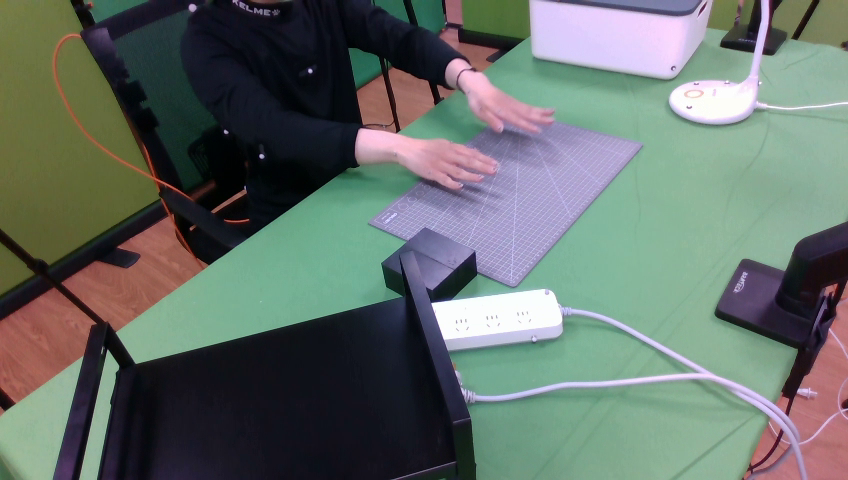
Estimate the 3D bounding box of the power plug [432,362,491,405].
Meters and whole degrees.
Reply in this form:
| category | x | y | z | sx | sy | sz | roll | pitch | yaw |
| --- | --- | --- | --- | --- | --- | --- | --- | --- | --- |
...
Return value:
| category | x | y | z | sx | sy | sz | roll | pitch | yaw |
| --- | --- | --- | --- | --- | --- | --- | --- | --- | --- |
| power plug | 0.045 | 0.182 | 0.758 | 0.073 | 0.035 | 0.052 | 21 | 43 | -18 |

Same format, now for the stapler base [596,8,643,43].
| category | x | y | z | sx | sy | sz | roll | pitch | yaw |
| --- | --- | --- | --- | --- | --- | --- | --- | --- | --- |
| stapler base | 0.454 | -0.502 | 1.399 | 0.131 | 0.024 | 0.041 | -38 | 61 | -20 |

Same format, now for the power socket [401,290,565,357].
| category | x | y | z | sx | sy | sz | roll | pitch | yaw |
| --- | --- | --- | --- | --- | --- | --- | --- | --- | --- |
| power socket | 0.080 | 0.112 | 0.821 | 0.227 | 0.033 | 0.072 | -7 | 41 | 0 |

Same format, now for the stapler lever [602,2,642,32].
| category | x | y | z | sx | sy | sz | roll | pitch | yaw |
| --- | --- | --- | --- | --- | --- | --- | --- | --- | --- |
| stapler lever | 0.452 | -0.517 | 1.380 | 0.118 | 0.040 | 0.026 | -39 | 61 | -19 |

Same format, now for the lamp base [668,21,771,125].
| category | x | y | z | sx | sy | sz | roll | pitch | yaw |
| --- | --- | --- | --- | --- | --- | --- | --- | --- | --- |
| lamp base | 0.577 | -0.333 | 1.155 | 0.179 | 0.181 | 0.160 | 6 | 42 | 12 |

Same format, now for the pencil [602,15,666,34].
| category | x | y | z | sx | sy | sz | roll | pitch | yaw |
| --- | --- | --- | --- | --- | --- | --- | --- | --- | --- |
| pencil | 0.484 | -0.494 | 1.390 | 0.195 | 0.012 | 0.012 | -21 | 42 | -21 |

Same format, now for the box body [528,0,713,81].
| category | x | y | z | sx | sy | sz | roll | pitch | yaw |
| --- | --- | --- | --- | --- | --- | --- | --- | --- | --- |
| box body | 0.450 | -0.512 | 1.398 | 0.361 | 0.161 | 0.254 | 19 | 48 | 28 |

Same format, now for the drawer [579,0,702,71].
| category | x | y | z | sx | sy | sz | roll | pitch | yaw |
| --- | --- | --- | --- | --- | --- | --- | --- | --- | --- |
| drawer | 0.485 | -0.489 | 1.363 | 0.210 | 0.073 | 0.194 | 24 | 62 | 21 |

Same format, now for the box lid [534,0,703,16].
| category | x | y | z | sx | sy | sz | roll | pitch | yaw |
| --- | --- | --- | --- | --- | --- | --- | --- | --- | --- |
| box lid | 0.440 | -0.569 | 1.350 | 0.369 | 0.015 | 0.264 | 19 | 47 | 28 |

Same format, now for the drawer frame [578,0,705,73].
| category | x | y | z | sx | sy | sz | roll | pitch | yaw |
| --- | --- | --- | --- | --- | --- | --- | --- | --- | --- |
| drawer frame | 0.487 | -0.488 | 1.361 | 0.212 | 0.083 | 0.202 | 23 | 61 | 22 |
